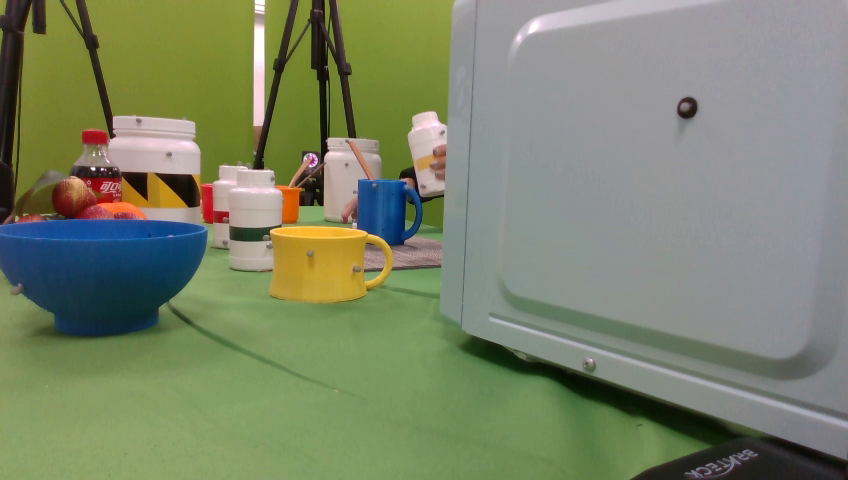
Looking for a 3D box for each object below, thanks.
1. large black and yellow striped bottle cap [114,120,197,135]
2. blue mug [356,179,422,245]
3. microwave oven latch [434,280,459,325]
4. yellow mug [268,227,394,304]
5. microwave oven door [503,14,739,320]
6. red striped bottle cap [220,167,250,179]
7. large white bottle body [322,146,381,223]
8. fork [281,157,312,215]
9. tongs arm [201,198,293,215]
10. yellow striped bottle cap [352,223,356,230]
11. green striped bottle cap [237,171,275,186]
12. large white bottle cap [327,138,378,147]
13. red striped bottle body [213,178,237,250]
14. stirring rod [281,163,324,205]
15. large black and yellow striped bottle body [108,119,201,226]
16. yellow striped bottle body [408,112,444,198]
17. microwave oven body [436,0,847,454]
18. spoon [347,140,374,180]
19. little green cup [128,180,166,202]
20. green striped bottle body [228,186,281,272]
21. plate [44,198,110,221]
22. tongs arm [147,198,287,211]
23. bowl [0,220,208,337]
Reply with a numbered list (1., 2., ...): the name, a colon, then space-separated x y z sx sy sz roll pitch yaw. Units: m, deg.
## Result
1. large black and yellow striped bottle cap: -0.407 -0.171 0.920 0.115 0.019 0.115 2 9 0
2. blue mug: -0.057 -0.047 1.007 0.116 0.106 0.082 5 8 21
3. microwave oven latch: 0.044 0.045 0.470 0.079 0.029 0.030 -2 8 -39
4. yellow mug: -0.094 0.023 0.630 0.131 0.064 0.099 0 8 -22
5. microwave oven door: 0.217 -0.065 0.601 0.358 0.243 0.039 -4 10 -41
6. red striped bottle cap: -0.281 -0.100 0.901 0.044 0.017 0.044 -1 5 0
7. large white bottle body: -0.163 -0.135 1.368 0.131 0.184 0.130 2 7 0
8. fork: -0.289 -0.116 1.321 0.028 0.019 0.207 6 51 19
9. tongs arm: -0.423 -0.084 1.472 0.050 0.026 0.386 2 6 21
10. yellow striped bottle cap: -0.115 -0.022 1.144 0.044 0.018 0.044 2 8 0
11. green striped bottle cap: -0.205 -0.075 0.738 0.044 0.020 0.044 1 8 0
12. large white bottle cap: -0.160 -0.218 1.357 0.115 0.018 0.115 2 8 0
13. red striped bottle body: -0.284 -0.048 0.909 0.063 0.119 0.063 3 10 0
14. stirring rod: -0.278 -0.105 1.293 0.176 0.006 0.014 -47 25 -18
15. large black and yellow striped bottle body: -0.412 -0.088 0.930 0.131 0.184 0.130 3 7 0
16. yellow striped bottle body: 0.013 -0.127 0.903 0.063 0.120 0.063 -12 0 0
17. microwave oven body: 0.279 -0.040 0.464 0.444 0.260 0.324 -3 9 -41
18. spoon: -0.089 -0.094 1.028 0.042 0.193 0.021 -4 -26 -45
19. little green cup: -0.485 -0.087 1.062 0.061 0.038 0.061 0 7 0
20. green striped bottle body: -0.208 -0.023 0.745 0.063 0.119 0.063 2 7 0
21. plate: -0.617 -0.056 1.179 0.209 0.038 0.209 3 7 0
22. tongs arm: -0.504 -0.091 1.513 0.028 0.028 0.389 -1 4 37
23. bowl: -0.251 0.029 0.479 0.151 0.077 0.151 2 7 0
